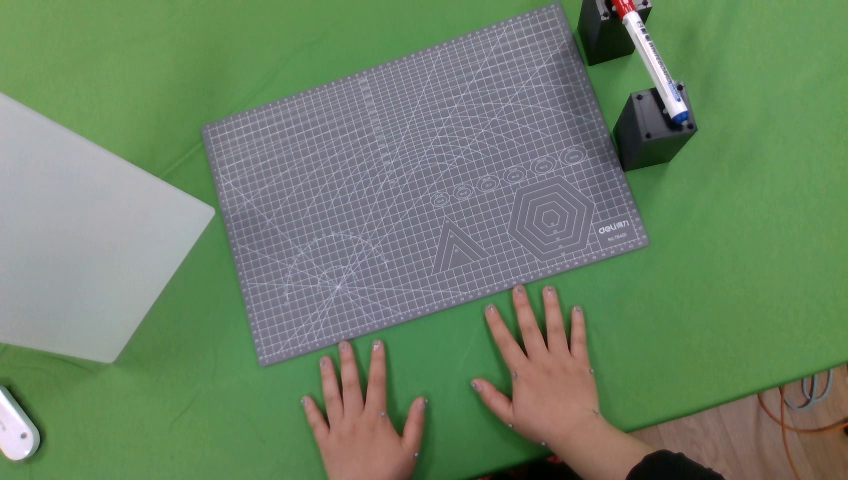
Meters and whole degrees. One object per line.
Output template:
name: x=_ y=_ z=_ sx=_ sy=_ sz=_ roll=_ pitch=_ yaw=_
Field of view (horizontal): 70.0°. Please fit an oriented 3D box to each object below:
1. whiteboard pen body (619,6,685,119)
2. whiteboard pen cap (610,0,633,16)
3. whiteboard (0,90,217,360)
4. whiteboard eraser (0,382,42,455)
whiteboard pen body: x=0.210 y=-0.178 z=0.571 sx=0.017 sy=0.017 sz=0.140 roll=-23 pitch=80 yaw=4
whiteboard pen cap: x=0.187 y=-0.233 z=0.581 sx=0.017 sy=0.017 sz=0.032 roll=-22 pitch=81 yaw=4
whiteboard: x=-0.414 y=-0.030 z=0.615 sx=0.142 sy=0.308 sz=0.217 roll=32 pitch=87 yaw=31
whiteboard eraser: x=-0.487 y=0.205 z=0.702 sx=0.041 sy=0.019 sz=0.101 roll=-45 pitch=80 yaw=-2
